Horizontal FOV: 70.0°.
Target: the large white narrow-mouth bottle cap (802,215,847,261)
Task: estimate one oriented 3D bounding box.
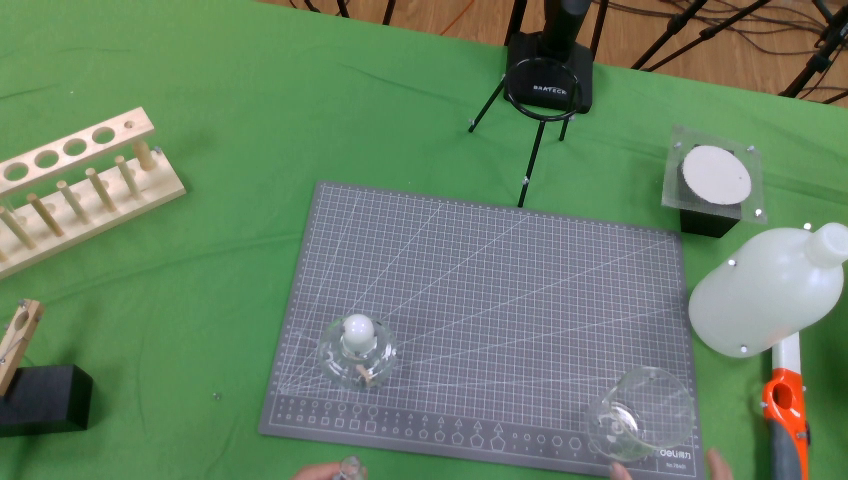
[{"bbox_3d":[0.363,-0.002,0.545,0.038,0.024,0.037,3,62,-5],"label":"large white narrow-mouth bottle cap"}]

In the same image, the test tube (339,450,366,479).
[{"bbox_3d":[-0.051,0.200,0.480,0.017,0.151,0.017,0,51,0],"label":"test tube"}]

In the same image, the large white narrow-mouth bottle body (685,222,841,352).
[{"bbox_3d":[0.355,0.040,0.620,0.102,0.196,0.101,3,62,-4],"label":"large white narrow-mouth bottle body"}]

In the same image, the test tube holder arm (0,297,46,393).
[{"bbox_3d":[-0.369,0.095,0.549,0.010,0.015,0.087,12,61,-1],"label":"test tube holder arm"}]

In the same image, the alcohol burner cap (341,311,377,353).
[{"bbox_3d":[-0.060,0.082,0.550,0.034,0.048,0.033,1,67,-2],"label":"alcohol burner cap"}]

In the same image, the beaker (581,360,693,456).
[{"bbox_3d":[0.198,0.166,0.586,0.084,0.101,0.073,5,61,-3],"label":"beaker"}]

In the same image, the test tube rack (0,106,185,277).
[{"bbox_3d":[-0.389,-0.045,0.635,0.242,0.086,0.066,-30,70,-20],"label":"test tube rack"}]

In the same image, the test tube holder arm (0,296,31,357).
[{"bbox_3d":[-0.382,0.132,0.527,0.013,0.015,0.177,10,61,-1],"label":"test tube holder arm"}]

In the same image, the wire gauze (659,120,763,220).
[{"bbox_3d":[0.348,-0.085,0.734,0.121,0.011,0.124,15,62,1],"label":"wire gauze"}]

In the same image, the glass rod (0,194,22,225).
[{"bbox_3d":[-0.422,-0.075,0.572,0.008,0.201,0.008,5,53,-6],"label":"glass rod"}]

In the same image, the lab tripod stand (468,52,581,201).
[{"bbox_3d":[0.125,-0.140,0.721,0.149,0.132,0.147,3,63,-7],"label":"lab tripod stand"}]

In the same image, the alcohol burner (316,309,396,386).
[{"bbox_3d":[-0.064,0.097,0.582,0.078,0.120,0.077,4,61,-7],"label":"alcohol burner"}]

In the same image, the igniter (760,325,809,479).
[{"bbox_3d":[0.393,0.148,0.663,0.057,0.025,0.274,22,62,-10],"label":"igniter"}]
